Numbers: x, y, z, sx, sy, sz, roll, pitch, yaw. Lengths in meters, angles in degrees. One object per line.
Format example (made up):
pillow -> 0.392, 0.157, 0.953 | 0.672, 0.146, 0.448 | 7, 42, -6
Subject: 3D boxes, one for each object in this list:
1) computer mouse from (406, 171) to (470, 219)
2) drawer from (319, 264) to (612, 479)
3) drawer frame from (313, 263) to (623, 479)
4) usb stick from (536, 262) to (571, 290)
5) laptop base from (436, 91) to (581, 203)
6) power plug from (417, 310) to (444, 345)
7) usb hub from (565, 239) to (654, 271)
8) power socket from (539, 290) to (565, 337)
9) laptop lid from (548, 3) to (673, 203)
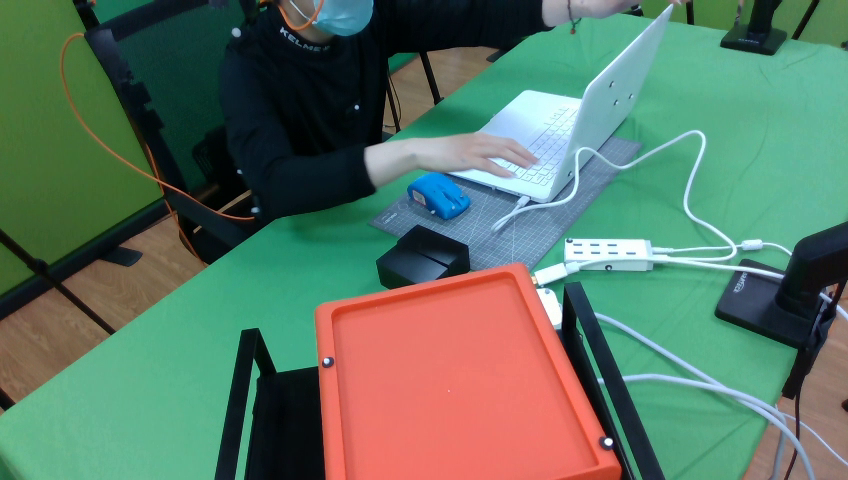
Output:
computer mouse -> 0.024, -0.082, 1.049 | 0.063, 0.041, 0.116 | -30, 50, -27
drawer -> 0.020, 0.129, 0.497 | 0.195, 0.073, 0.210 | -11, 41, -5
drawer frame -> 0.021, 0.130, 0.493 | 0.202, 0.083, 0.212 | -11, 41, -6
usb stick -> 0.182, 0.055, 0.876 | 0.059, 0.027, 0.021 | -33, 85, -4
laptop base -> 0.214, -0.192, 1.172 | 0.233, 0.023, 0.355 | 19, 46, 32
power plug -> 0.007, 0.123, 0.785 | 0.035, 0.053, 0.072 | 0, 39, 8
usb hub -> 0.275, 0.022, 0.906 | 0.125, 0.025, 0.049 | 1, 41, 9
power socket -> 0.081, 0.112, 0.822 | 0.227, 0.033, 0.072 | -6, 41, 0
laptop lid -> 0.320, -0.235, 1.026 | 0.013, 0.242, 0.357 | 31, 50, 20
